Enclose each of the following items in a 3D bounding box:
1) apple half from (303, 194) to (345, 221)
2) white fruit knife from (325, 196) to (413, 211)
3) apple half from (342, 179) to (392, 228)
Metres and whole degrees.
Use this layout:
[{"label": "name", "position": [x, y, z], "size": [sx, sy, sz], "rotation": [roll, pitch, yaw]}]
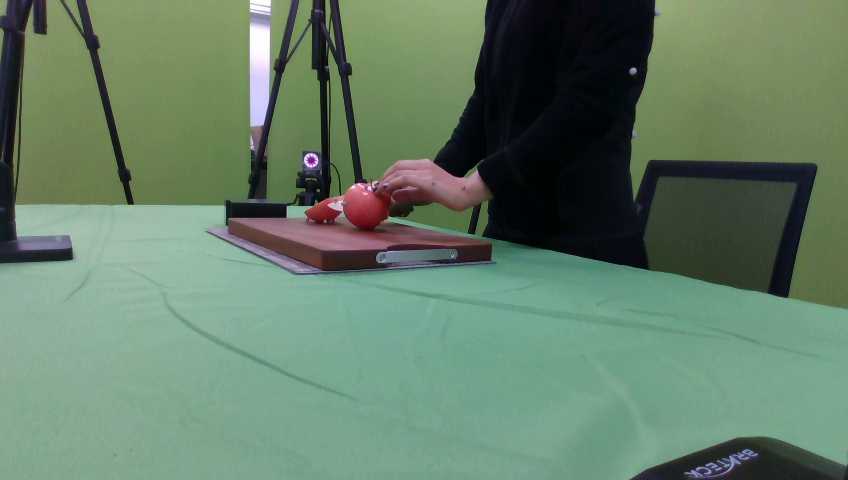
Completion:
[{"label": "apple half", "position": [-0.166, -0.051, 1.051], "size": [0.081, 0.033, 0.081], "rotation": [-20, -2, 0]}, {"label": "white fruit knife", "position": [-0.090, -0.063, 1.048], "size": [0.016, 0.027, 0.208], "rotation": [17, 14, 38]}, {"label": "apple half", "position": [-0.086, -0.054, 0.974], "size": [0.081, 0.074, 0.053], "rotation": [-9, 43, -45]}]
